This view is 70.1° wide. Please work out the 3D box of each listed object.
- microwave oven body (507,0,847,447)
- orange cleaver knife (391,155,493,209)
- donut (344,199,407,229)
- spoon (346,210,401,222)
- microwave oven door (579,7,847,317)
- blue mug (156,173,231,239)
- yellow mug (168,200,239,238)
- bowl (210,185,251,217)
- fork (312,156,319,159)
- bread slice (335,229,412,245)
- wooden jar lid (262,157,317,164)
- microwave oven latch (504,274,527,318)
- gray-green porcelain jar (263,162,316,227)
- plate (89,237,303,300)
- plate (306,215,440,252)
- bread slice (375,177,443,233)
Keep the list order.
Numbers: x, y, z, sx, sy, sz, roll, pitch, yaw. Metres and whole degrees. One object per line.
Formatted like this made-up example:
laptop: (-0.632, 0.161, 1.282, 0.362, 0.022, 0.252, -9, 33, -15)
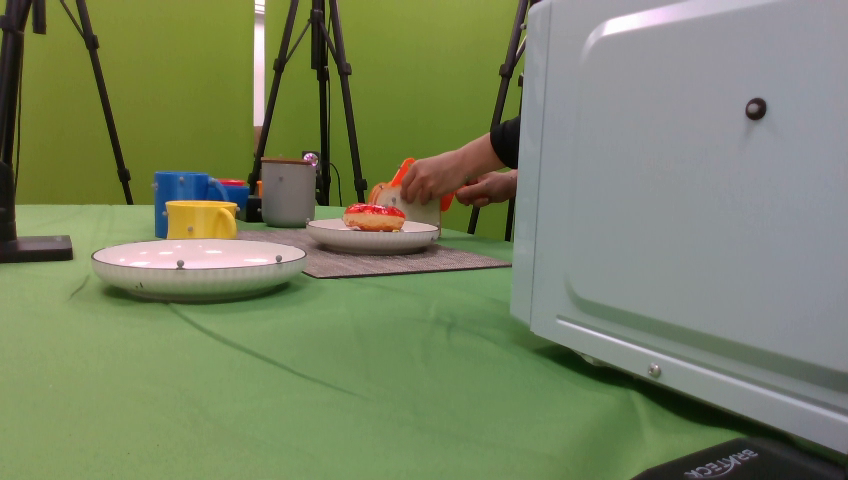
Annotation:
microwave oven body: (0.331, -0.042, 0.425, 0.444, 0.260, 0.324, -2, 8, -31)
orange cleaver knife: (0.038, -0.101, 1.166, 0.212, 0.077, 0.012, 17, 0, -24)
donut: (-0.076, -0.039, 0.949, 0.099, 0.048, 0.099, 2, 4, 0)
spoon: (-0.121, -0.060, 1.400, 0.042, 0.021, 0.192, -28, 25, -37)
microwave oven door: (0.294, -0.067, 0.570, 0.358, 0.243, 0.039, -3, 9, -31)
blue mug: (-0.381, -0.057, 1.004, 0.117, 0.106, 0.082, 0, 8, -12)
yellow mug: (-0.319, -0.023, 0.904, 0.130, 0.064, 0.100, 9, 11, 36)
bowl: (-0.408, -0.064, 1.155, 0.151, 0.077, 0.151, 2, 8, 0)
fork: (-0.331, -0.144, 1.506, 0.207, 0.018, 0.028, -42, -20, 22)
bread slice: (-0.074, -0.006, 0.938, 0.105, 0.019, 0.131, -2, 5, -19)
wooden jar lid: (-0.269, -0.154, 1.208, 0.108, 0.020, 0.108, 3, 4, 0)
microwave oven latch: (0.100, 0.041, 0.471, 0.079, 0.029, 0.030, -1, 8, -28)
gray-green porcelain jar: (-0.271, -0.092, 1.217, 0.106, 0.126, 0.106, 2, 7, 0)
plate: (-0.233, 0.029, 0.637, 0.208, 0.039, 0.207, 2, 7, 0)
plate: (-0.079, -0.011, 0.950, 0.209, 0.038, 0.209, 2, 8, 0)
bread slice: (-0.027, -0.060, 1.135, 0.135, 0.107, 0.018, -7, 9, -22)
